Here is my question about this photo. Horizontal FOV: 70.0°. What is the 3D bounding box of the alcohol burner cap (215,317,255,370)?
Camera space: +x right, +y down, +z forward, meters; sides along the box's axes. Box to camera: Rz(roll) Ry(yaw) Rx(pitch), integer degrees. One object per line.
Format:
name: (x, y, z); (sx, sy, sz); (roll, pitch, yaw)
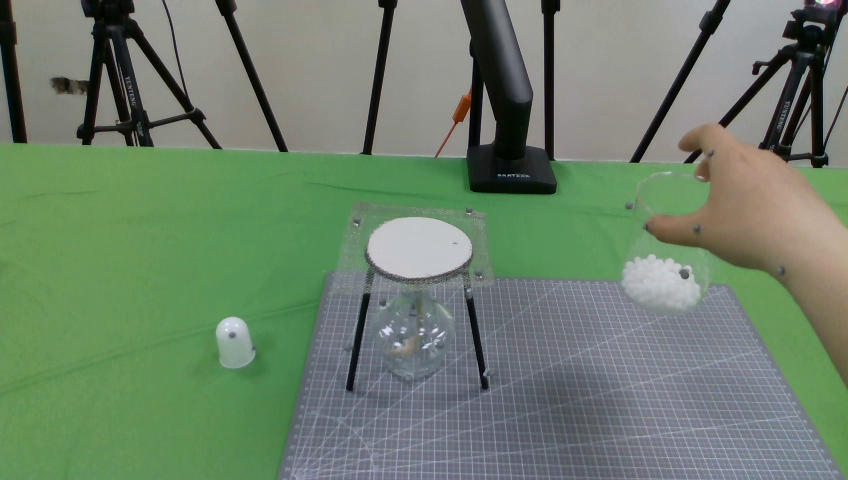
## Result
alcohol burner cap: (-0.175, 0.092, 0.559); (0.034, 0.048, 0.033); (2, 37, -1)

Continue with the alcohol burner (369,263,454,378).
alcohol burner: (-0.010, 0.067, 0.539); (0.078, 0.120, 0.077); (3, 37, -2)

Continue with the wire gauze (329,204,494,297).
wire gauze: (-0.008, 0.006, 0.492); (0.121, 0.011, 0.124); (2, 34, 0)

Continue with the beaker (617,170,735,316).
beaker: (0.199, 0.007, 0.491); (0.074, 0.101, 0.083); (9, 39, 13)

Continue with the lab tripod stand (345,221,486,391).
lab tripod stand: (-0.009, 0.058, 0.535); (0.148, 0.132, 0.147); (0, 35, 0)
